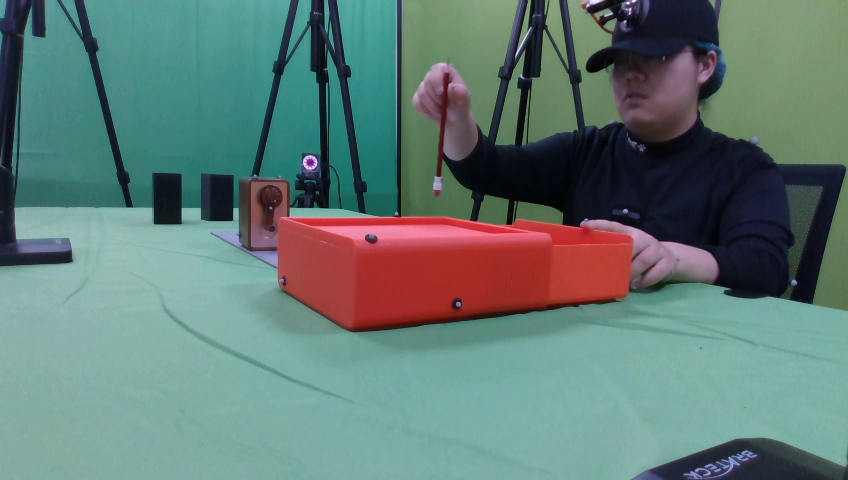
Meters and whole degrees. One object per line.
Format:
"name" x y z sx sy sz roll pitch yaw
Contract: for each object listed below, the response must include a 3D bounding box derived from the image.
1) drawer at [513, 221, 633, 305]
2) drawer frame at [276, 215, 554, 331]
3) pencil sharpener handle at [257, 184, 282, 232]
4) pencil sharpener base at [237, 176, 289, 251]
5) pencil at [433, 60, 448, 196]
"drawer" 0.085 0.022 0.673 0.213 0.073 0.193 -2 8 -33
"drawer frame" -0.015 0.022 0.610 0.215 0.082 0.200 -2 9 -32
"pencil sharpener handle" -0.219 -0.046 0.865 0.036 0.067 0.030 5 6 -29
"pencil sharpener base" -0.243 -0.040 0.912 0.061 0.107 0.076 -1 8 -29
"pencil" 0.025 -0.156 0.865 0.012 0.194 0.012 4 20 -1
